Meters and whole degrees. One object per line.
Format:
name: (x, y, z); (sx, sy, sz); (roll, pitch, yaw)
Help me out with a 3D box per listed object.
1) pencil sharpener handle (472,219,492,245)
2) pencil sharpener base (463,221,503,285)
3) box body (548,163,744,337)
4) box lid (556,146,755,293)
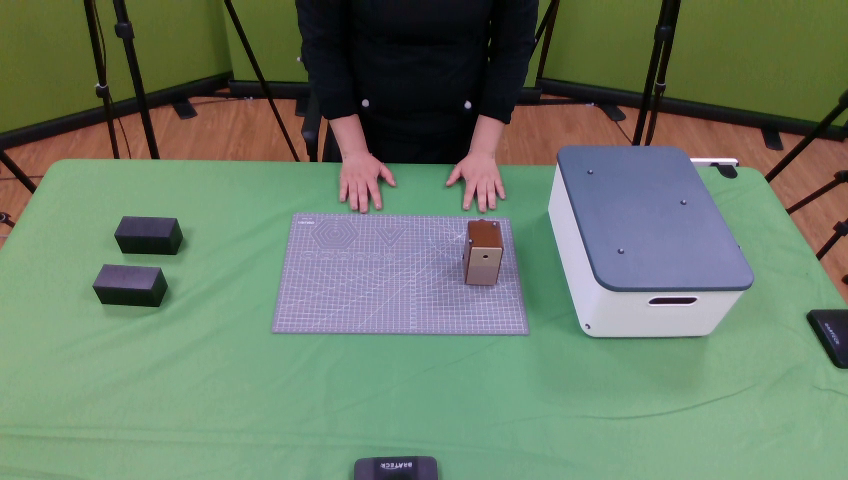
pencil sharpener handle: (0.105, -0.021, 1.146); (0.036, 0.068, 0.030); (7, 44, -8)
pencil sharpener base: (0.107, 0.024, 1.119); (0.061, 0.107, 0.076); (1, 45, -2)
box body: (0.391, -0.001, 1.130); (0.254, 0.161, 0.361); (-1, 46, -4)
box lid: (0.394, -0.051, 1.075); (0.263, 0.015, 0.369); (0, 46, -4)
